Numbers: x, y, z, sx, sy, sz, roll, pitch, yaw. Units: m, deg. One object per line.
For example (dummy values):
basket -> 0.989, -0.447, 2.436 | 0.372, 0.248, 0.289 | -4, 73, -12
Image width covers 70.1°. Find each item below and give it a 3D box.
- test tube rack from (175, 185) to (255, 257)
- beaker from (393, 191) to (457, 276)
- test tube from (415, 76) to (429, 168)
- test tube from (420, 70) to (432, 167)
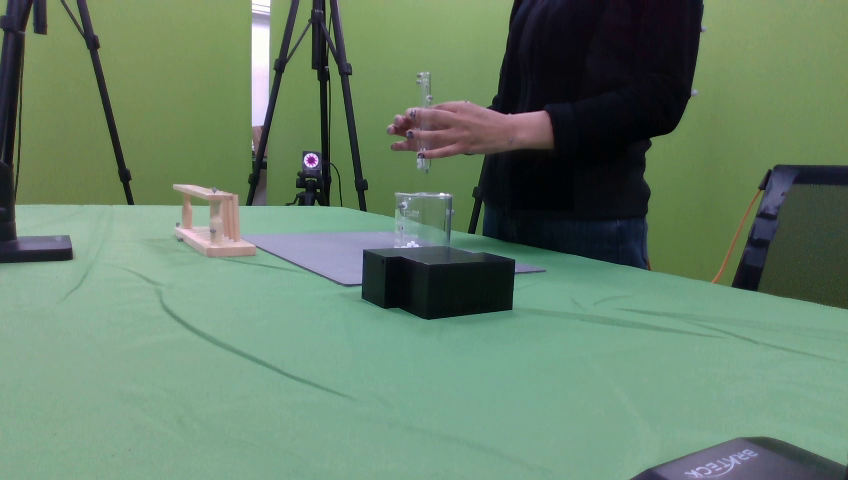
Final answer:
test tube rack -> -0.324, -0.035, 0.922 | 0.067, 0.085, 0.241 | -2, 9, -31
beaker -> -0.003, -0.010, 0.749 | 0.074, 0.100, 0.083 | -3, 8, -40
test tube -> -0.003, -0.195, 1.003 | 0.017, 0.150, 0.017 | 3, 13, 0
test tube -> 0.004, -0.189, 0.951 | 0.017, 0.150, 0.017 | -1, 13, 1
